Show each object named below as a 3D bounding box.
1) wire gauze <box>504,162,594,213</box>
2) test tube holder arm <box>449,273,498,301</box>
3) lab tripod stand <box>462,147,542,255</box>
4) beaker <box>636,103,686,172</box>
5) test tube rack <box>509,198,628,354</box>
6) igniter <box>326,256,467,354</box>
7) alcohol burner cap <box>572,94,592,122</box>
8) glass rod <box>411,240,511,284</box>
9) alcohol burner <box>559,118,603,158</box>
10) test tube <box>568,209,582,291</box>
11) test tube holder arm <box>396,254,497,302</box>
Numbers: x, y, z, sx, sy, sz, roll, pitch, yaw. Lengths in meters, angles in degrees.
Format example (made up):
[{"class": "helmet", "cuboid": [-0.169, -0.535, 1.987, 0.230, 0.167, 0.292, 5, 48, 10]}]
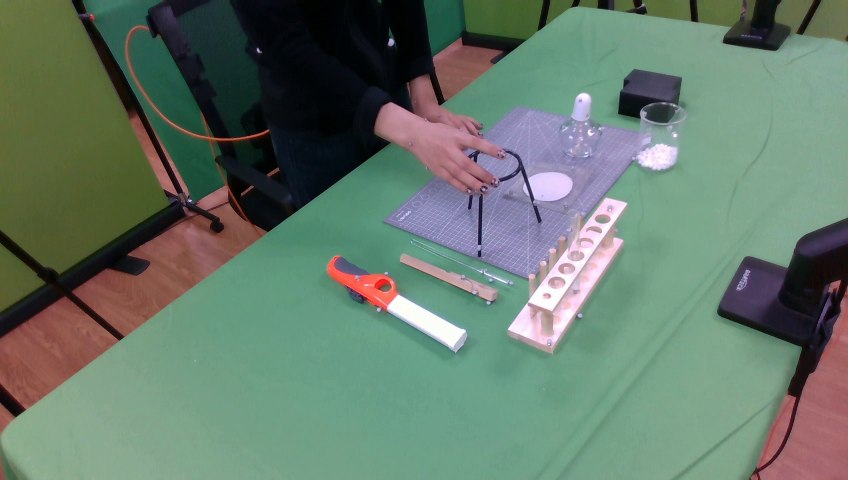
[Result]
[{"class": "wire gauze", "cuboid": [0.220, -0.098, 1.065, 0.124, 0.011, 0.122, 17, 47, 32]}, {"class": "test tube holder arm", "cuboid": [0.070, 0.069, 0.894, 0.087, 0.015, 0.010, 21, 10, 31]}, {"class": "lab tripod stand", "cuboid": [0.114, -0.069, 0.951, 0.148, 0.132, 0.147, -4, 40, 4]}, {"class": "beaker", "cuboid": [0.413, -0.177, 1.055, 0.084, 0.101, 0.073, -28, 44, -21]}, {"class": "test tube rack", "cuboid": [0.206, 0.039, 0.850, 0.066, 0.085, 0.243, 20, 48, 31]}, {"class": "igniter", "cuboid": [-0.051, 0.088, 0.886, 0.274, 0.025, 0.057, 26, 61, 35]}, {"class": "alcohol burner cap", "cuboid": [0.284, -0.238, 1.079, 0.034, 0.048, 0.033, -1, 48, 2]}, {"class": "glass rod", "cuboid": [0.053, 0.033, 0.946, 0.198, 0.008, 0.008, 22, 50, 36]}, {"class": "alcohol burner", "cuboid": [0.287, -0.212, 1.104, 0.078, 0.119, 0.077, -4, 40, 4]}, {"class": "test tube", "cuboid": [0.200, 0.017, 0.799, 0.017, 0.151, 0.017, -8, 45, 8]}, {"class": "test tube holder arm", "cuboid": [0.030, 0.055, 0.912, 0.177, 0.015, 0.013, 21, 10, 29]}]
